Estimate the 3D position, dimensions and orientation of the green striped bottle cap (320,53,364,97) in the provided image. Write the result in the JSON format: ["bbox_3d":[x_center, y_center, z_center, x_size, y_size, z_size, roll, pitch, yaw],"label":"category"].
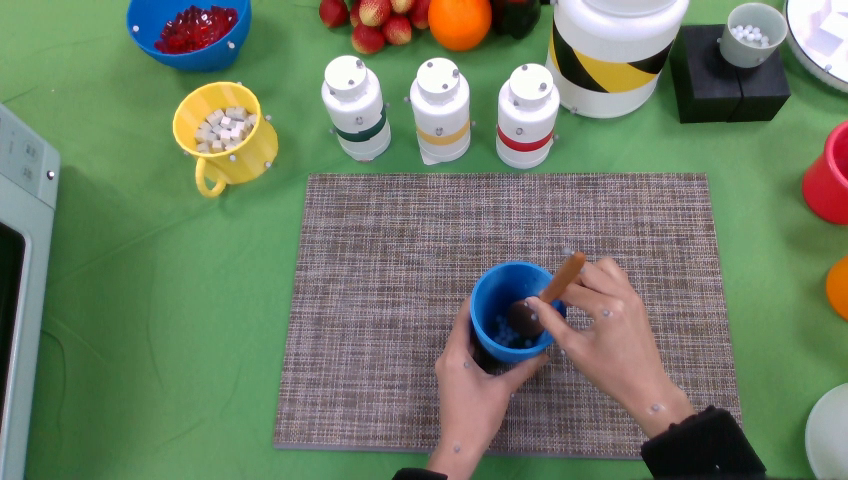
[{"bbox_3d":[-0.084,-0.170,0.622,0.044,0.020,0.044,-1,67,3],"label":"green striped bottle cap"}]

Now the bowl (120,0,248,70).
[{"bbox_3d":[-0.285,-0.267,0.756,0.151,0.077,0.150,-1,68,3],"label":"bowl"}]

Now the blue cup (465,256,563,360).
[{"bbox_3d":[0.081,0.074,0.573,0.092,0.101,0.092,-1,67,3],"label":"blue cup"}]

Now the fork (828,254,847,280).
[{"bbox_3d":[0.462,0.049,0.532,0.028,0.019,0.205,-34,25,-14],"label":"fork"}]

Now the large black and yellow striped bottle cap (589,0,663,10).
[{"bbox_3d":[0.190,-0.267,0.571,0.115,0.019,0.114,-2,67,5],"label":"large black and yellow striped bottle cap"}]

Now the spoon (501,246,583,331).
[{"bbox_3d":[0.100,0.046,0.522,0.041,0.194,0.021,34,71,7],"label":"spoon"}]

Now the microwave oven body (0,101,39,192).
[{"bbox_3d":[-0.578,0.065,0.543,0.326,0.262,0.438,-9,68,1],"label":"microwave oven body"}]

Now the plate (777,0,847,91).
[{"bbox_3d":[0.519,-0.251,0.709,0.209,0.038,0.207,-1,68,4],"label":"plate"}]

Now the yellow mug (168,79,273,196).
[{"bbox_3d":[-0.236,-0.112,0.696,0.100,0.064,0.130,10,70,7],"label":"yellow mug"}]

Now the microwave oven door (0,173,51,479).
[{"bbox_3d":[-0.429,0.080,0.520,0.039,0.245,0.353,-9,67,2],"label":"microwave oven door"}]

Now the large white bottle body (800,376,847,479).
[{"bbox_3d":[0.404,0.155,0.474,0.130,0.186,0.129,-2,67,4],"label":"large white bottle body"}]

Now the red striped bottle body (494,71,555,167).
[{"bbox_3d":[0.107,-0.135,0.650,0.063,0.120,0.062,-3,65,8],"label":"red striped bottle body"}]

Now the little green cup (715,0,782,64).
[{"bbox_3d":[0.348,-0.223,0.656,0.061,0.039,0.061,-1,67,3],"label":"little green cup"}]

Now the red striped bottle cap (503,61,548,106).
[{"bbox_3d":[0.101,-0.156,0.602,0.044,0.018,0.044,0,67,1],"label":"red striped bottle cap"}]

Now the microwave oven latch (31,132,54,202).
[{"bbox_3d":[-0.447,-0.082,0.696,0.030,0.030,0.078,-7,68,1],"label":"microwave oven latch"}]

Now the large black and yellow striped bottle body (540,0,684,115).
[{"bbox_3d":[0.198,-0.237,0.649,0.131,0.185,0.130,-2,68,4],"label":"large black and yellow striped bottle body"}]

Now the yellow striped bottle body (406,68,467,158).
[{"bbox_3d":[0.015,-0.146,0.661,0.063,0.121,0.062,-2,67,5],"label":"yellow striped bottle body"}]

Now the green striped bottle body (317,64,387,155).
[{"bbox_3d":[-0.079,-0.150,0.670,0.063,0.120,0.062,-2,67,4],"label":"green striped bottle body"}]

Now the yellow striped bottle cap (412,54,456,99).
[{"bbox_3d":[0.010,-0.166,0.613,0.044,0.019,0.044,-1,69,4],"label":"yellow striped bottle cap"}]

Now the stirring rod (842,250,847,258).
[{"bbox_3d":[0.435,0.048,0.540,0.014,0.006,0.174,-6,25,1],"label":"stirring rod"}]
